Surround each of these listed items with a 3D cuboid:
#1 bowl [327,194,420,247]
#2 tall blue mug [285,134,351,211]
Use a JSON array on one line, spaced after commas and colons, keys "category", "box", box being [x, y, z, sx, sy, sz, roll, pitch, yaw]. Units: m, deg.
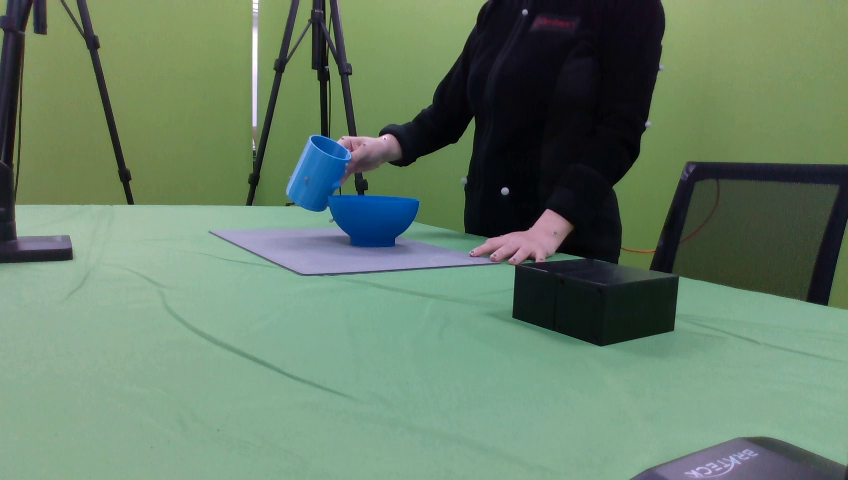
[{"category": "bowl", "box": [-0.083, -0.032, 0.988, 0.151, 0.077, 0.151, 2, 7, 0]}, {"category": "tall blue mug", "box": [-0.181, -0.121, 1.047, 0.078, 0.108, 0.107, 24, 25, -15]}]
